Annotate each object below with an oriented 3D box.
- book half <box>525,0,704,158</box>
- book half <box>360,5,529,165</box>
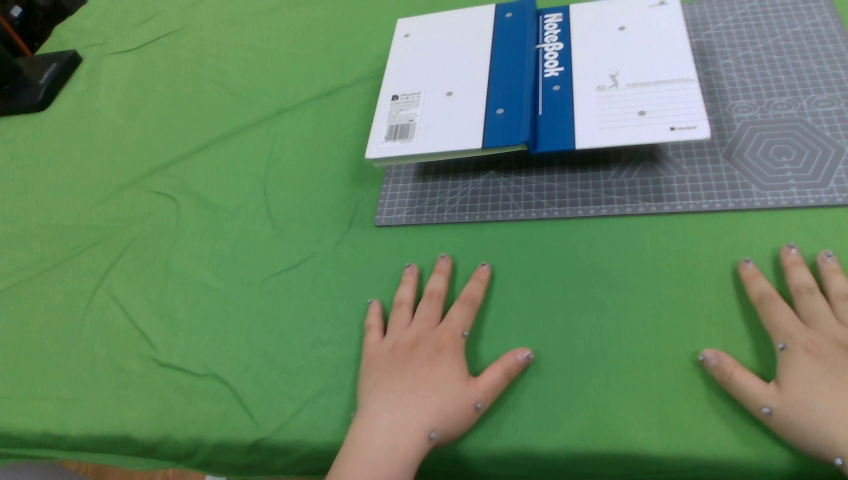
[{"bbox_3d":[0.166,-0.155,0.559,0.143,0.007,0.208,-2,52,13],"label":"book half"},{"bbox_3d":[0.026,-0.153,0.585,0.148,0.016,0.208,-3,53,14],"label":"book half"}]
